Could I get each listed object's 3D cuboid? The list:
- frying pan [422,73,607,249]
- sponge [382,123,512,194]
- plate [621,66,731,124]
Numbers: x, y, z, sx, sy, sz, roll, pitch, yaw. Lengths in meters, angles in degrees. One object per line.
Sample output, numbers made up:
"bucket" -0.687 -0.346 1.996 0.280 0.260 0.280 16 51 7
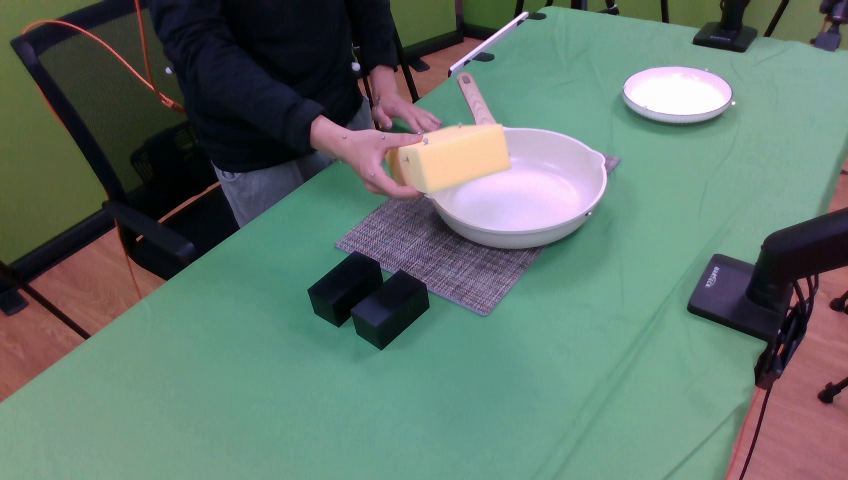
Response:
"frying pan" 0.130 -0.161 1.069 0.307 0.103 0.484 -10 49 -5
"sponge" 0.024 -0.119 0.851 0.118 0.061 0.205 -19 15 -13
"plate" 0.503 -0.288 1.221 0.207 0.039 0.206 -4 41 4
